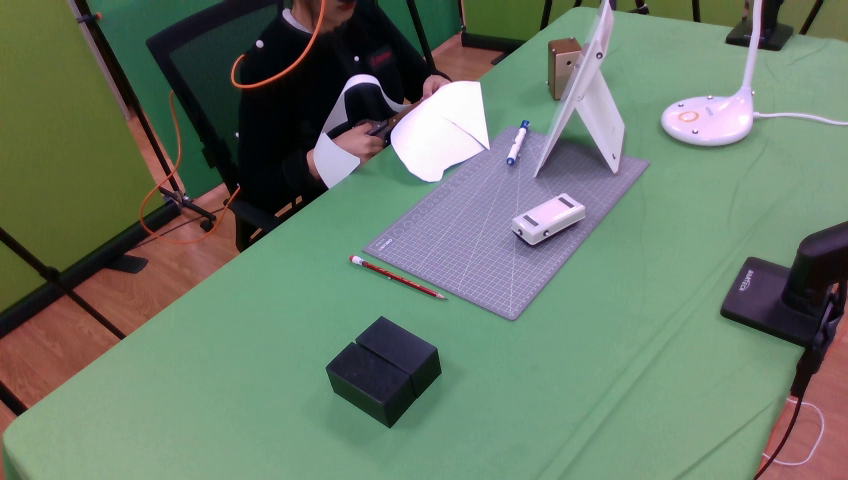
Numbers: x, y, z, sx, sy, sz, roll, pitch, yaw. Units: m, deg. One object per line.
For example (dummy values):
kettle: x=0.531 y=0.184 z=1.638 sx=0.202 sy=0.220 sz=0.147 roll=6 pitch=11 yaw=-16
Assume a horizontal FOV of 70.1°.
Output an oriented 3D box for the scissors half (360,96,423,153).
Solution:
scissors half: x=-0.066 y=-0.239 z=1.254 sx=0.175 sy=0.040 sz=0.013 roll=-41 pitch=13 yaw=24

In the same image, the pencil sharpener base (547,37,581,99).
pencil sharpener base: x=0.299 y=-0.368 z=1.290 sx=0.061 sy=0.107 sz=0.076 roll=-8 pitch=40 yaw=2

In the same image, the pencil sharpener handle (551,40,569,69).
pencil sharpener handle: x=0.291 y=-0.409 z=1.320 sx=0.036 sy=0.068 sz=0.030 roll=2 pitch=40 yaw=-6

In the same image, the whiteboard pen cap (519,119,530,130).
whiteboard pen cap: x=0.199 y=-0.226 z=1.204 sx=0.018 sy=0.018 sz=0.033 roll=7 pitch=41 yaw=18

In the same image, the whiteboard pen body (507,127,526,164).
whiteboard pen body: x=0.181 y=-0.189 z=1.162 sx=0.017 sy=0.017 sz=0.140 roll=7 pitch=42 yaw=19

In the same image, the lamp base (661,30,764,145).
lamp base: x=0.535 y=-0.287 z=1.096 sx=0.179 sy=0.181 sz=0.159 roll=-10 pitch=40 yaw=-4

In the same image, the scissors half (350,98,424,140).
scissors half: x=-0.078 y=-0.254 z=1.248 sx=0.174 sy=0.040 sz=0.013 roll=-21 pitch=25 yaw=17

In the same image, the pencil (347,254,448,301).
pencil: x=-0.044 y=0.058 z=0.933 sx=0.192 sy=0.012 sz=0.012 roll=22 pitch=49 yaw=28

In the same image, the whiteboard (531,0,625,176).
whiteboard: x=0.320 y=-0.258 z=1.050 sx=0.144 sy=0.306 sz=0.217 roll=22 pitch=45 yaw=5

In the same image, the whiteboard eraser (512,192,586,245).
whiteboard eraser: x=0.199 y=-0.032 z=0.962 sx=0.113 sy=0.042 sz=0.055 roll=-27 pitch=43 yaw=-20
